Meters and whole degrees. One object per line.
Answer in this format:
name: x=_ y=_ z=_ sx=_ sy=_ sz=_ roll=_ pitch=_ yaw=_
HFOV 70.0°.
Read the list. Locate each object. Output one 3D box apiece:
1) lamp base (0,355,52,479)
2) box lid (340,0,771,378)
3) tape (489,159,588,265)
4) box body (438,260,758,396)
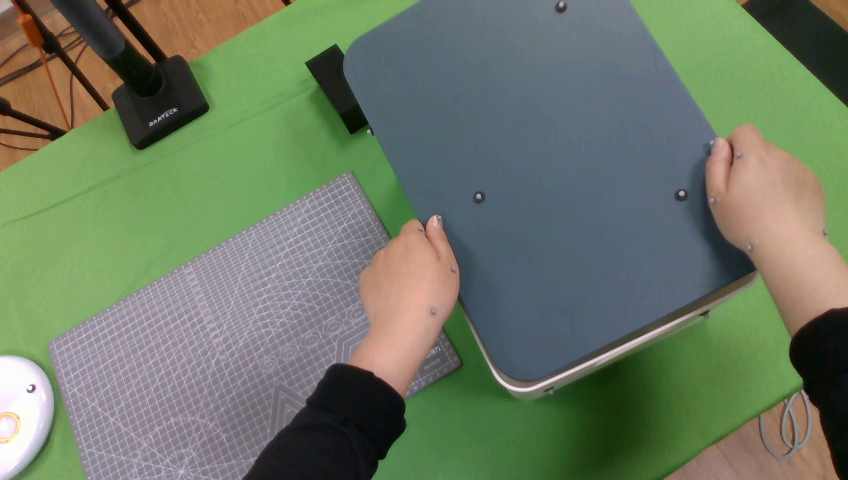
lamp base: x=-0.559 y=0.193 z=0.677 sx=0.178 sy=0.182 sz=0.159 roll=6 pitch=71 yaw=15
box lid: x=0.103 y=-0.091 z=0.551 sx=0.263 sy=0.015 sz=0.369 roll=-29 pitch=78 yaw=4
tape: x=0.132 y=-0.034 z=0.705 sx=0.117 sy=0.053 sz=0.116 roll=-3 pitch=69 yaw=8
box body: x=0.123 y=-0.041 z=0.656 sx=0.254 sy=0.161 sz=0.361 roll=-26 pitch=68 yaw=-1
